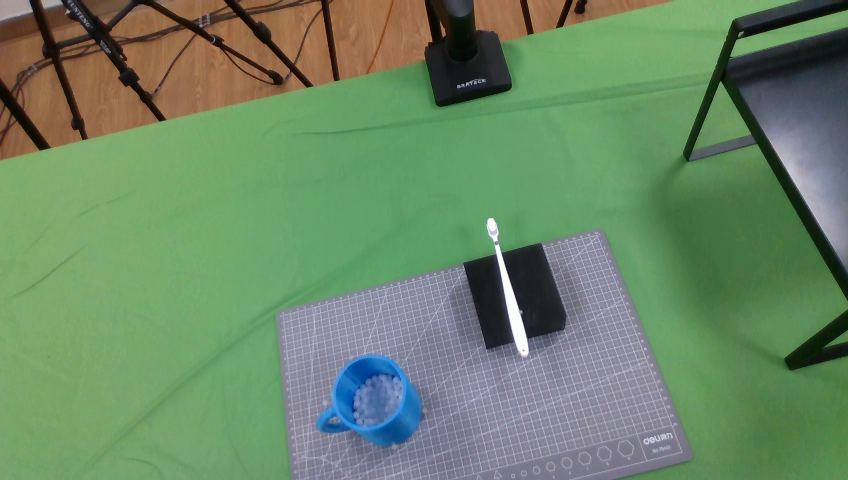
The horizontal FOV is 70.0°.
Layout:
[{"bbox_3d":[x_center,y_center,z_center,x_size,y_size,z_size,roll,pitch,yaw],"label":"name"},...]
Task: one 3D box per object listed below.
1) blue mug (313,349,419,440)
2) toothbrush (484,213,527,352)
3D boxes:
[{"bbox_3d":[-0.068,0.184,0.689,0.116,0.107,0.081,-22,63,-2],"label":"blue mug"},{"bbox_3d":[0.097,0.047,0.724,0.014,0.017,0.180,-9,64,-4],"label":"toothbrush"}]
